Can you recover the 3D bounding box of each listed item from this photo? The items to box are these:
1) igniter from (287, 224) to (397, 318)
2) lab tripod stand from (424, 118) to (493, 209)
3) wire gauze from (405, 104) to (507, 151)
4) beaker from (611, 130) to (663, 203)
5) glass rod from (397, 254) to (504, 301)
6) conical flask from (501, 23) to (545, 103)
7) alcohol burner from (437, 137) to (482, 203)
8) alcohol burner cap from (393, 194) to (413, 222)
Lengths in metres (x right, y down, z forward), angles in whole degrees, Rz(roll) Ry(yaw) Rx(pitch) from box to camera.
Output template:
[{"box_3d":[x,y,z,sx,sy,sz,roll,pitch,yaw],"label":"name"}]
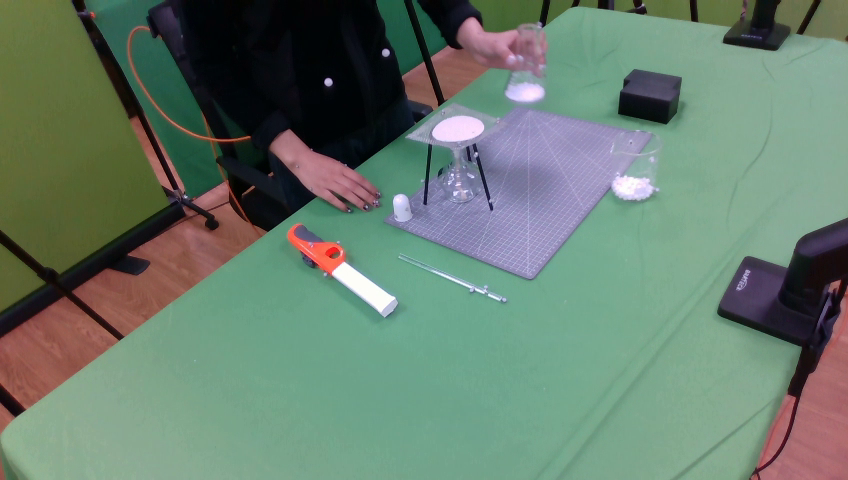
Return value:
[{"box_3d":[-0.139,0.042,0.958,0.057,0.025,0.274,-42,49,-19],"label":"igniter"},{"box_3d":[0.061,-0.133,1.038,0.148,0.132,0.147,-6,38,6],"label":"lab tripod stand"},{"box_3d":[0.053,-0.184,0.996,0.120,0.011,0.125,26,50,37],"label":"wire gauze"},{"box_3d":[0.346,-0.118,0.998,0.084,0.101,0.073,-17,40,-7],"label":"beaker"},{"box_3d":[0.036,0.054,0.922,0.198,0.008,0.008,21,49,31],"label":"glass rod"},{"box_3d":[0.170,-0.301,1.027,0.075,0.122,0.075,-2,36,2],"label":"conical flask"},{"box_3d":[0.060,-0.125,1.045,0.078,0.119,0.077,-5,39,4],"label":"alcohol burner"},{"box_3d":[-0.039,-0.057,1.038,0.034,0.048,0.033,-5,40,5],"label":"alcohol burner cap"}]
